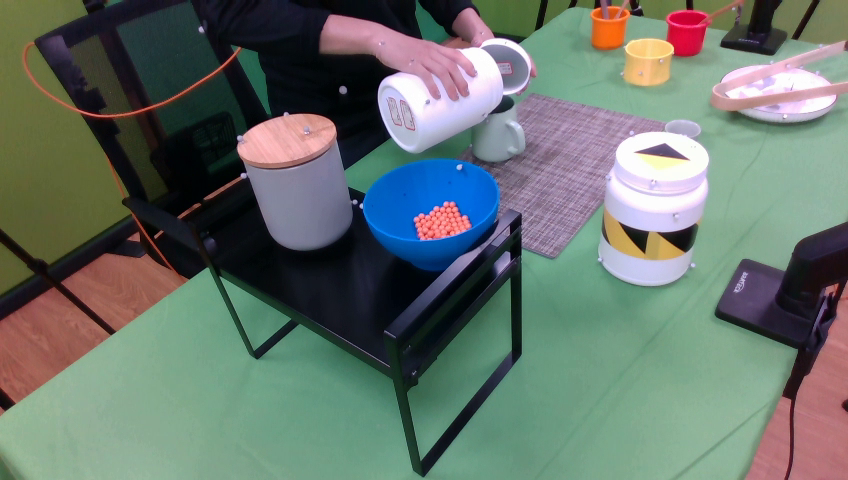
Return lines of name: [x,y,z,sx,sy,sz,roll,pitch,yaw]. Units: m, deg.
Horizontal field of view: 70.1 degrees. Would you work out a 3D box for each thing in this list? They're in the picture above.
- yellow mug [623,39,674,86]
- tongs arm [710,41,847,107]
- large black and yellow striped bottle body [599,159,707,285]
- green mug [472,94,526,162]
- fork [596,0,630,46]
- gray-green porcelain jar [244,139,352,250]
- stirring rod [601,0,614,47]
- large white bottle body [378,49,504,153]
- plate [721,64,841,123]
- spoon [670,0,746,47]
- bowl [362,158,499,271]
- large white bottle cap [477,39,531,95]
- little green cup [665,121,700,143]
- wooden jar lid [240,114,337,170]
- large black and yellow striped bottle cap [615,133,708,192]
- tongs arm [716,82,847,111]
yellow mug: [0.485,-0.398,1.334,0.100,0.064,0.130,-18,41,-10]
tongs arm: [0.712,-0.332,1.194,0.386,0.026,0.050,-18,45,-16]
large black and yellow striped bottle body: [0.320,-0.042,0.854,0.131,0.185,0.130,-4,41,4]
green mug: [0.144,-0.202,1.122,0.093,0.105,0.124,-28,45,-23]
fork: [0.481,-0.556,1.453,0.028,0.019,0.207,40,103,38]
gray-green porcelain jar: [-0.144,-0.060,0.714,0.106,0.127,0.105,-4,41,4]
stirring rod: [0.439,-0.552,1.463,0.014,0.006,0.175,-7,83,3]
large white bottle body: [0.031,-0.240,1.017,0.185,0.131,0.129,-30,45,-24]
plate: [0.695,-0.282,1.189,0.207,0.039,0.206,-4,40,4]
spoon: [0.629,-0.485,1.350,0.022,0.193,0.042,48,54,-7]
bowl: [0.011,-0.019,0.679,0.151,0.077,0.150,-5,41,5]
large white bottle cap: [0.144,-0.323,1.135,0.114,0.115,0.018,9,55,18]
little green cup: [0.472,-0.188,1.113,0.061,0.039,0.061,-5,40,4]
wooden jar lid: [-0.149,-0.106,0.673,0.108,0.021,0.108,-6,38,5]
large black and yellow striped bottle cap: [0.312,-0.105,0.798,0.115,0.019,0.114,-5,41,5]
tongs arm: [0.738,-0.282,1.134,0.388,0.028,0.028,-9,46,-5]
